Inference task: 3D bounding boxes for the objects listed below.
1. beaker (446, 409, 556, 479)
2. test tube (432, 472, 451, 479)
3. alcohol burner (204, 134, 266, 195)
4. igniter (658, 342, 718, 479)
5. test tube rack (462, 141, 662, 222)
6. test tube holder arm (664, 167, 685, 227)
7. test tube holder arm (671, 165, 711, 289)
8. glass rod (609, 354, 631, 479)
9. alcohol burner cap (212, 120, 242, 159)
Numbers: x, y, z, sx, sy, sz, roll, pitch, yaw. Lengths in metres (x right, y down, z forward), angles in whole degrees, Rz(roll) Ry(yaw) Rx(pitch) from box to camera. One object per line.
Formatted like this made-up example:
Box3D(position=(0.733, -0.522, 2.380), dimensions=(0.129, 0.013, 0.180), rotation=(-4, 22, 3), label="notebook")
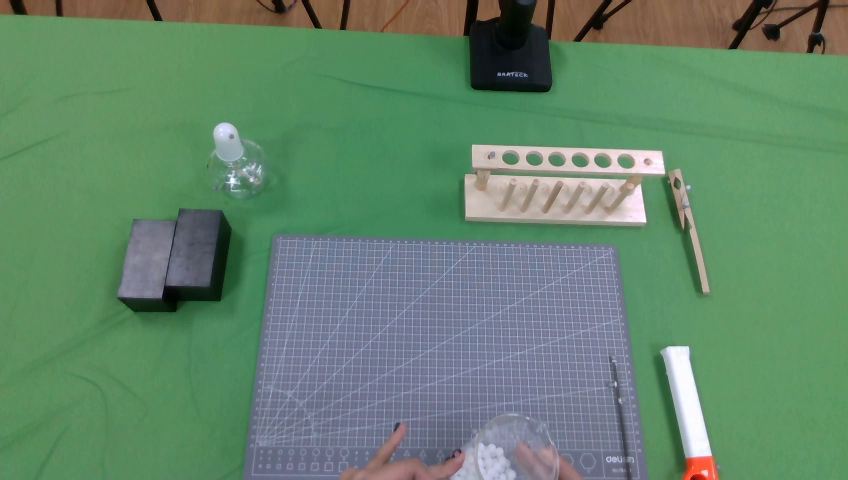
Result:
Box3D(position=(0.066, 0.199, 0.541), dimensions=(0.073, 0.101, 0.084), rotation=(43, 58, 12), label="beaker")
Box3D(position=(0.017, 0.222, 0.505), dimensions=(0.017, 0.151, 0.017), rotation=(-2, 53, 3), label="test tube")
Box3D(position=(-0.240, -0.107, 0.757), dimensions=(0.078, 0.120, 0.077), rotation=(1, 64, -2), label="alcohol burner")
Box3D(position=(0.310, 0.252, 0.688), dimensions=(0.057, 0.025, 0.274), rotation=(3, 66, -14), label="igniter")
Box3D(position=(0.175, -0.074, 0.789), dimensions=(0.242, 0.086, 0.066), rotation=(2, 66, -3), label="test tube rack")
Box3D(position=(0.347, -0.059, 0.833), dimensions=(0.010, 0.015, 0.087), rotation=(-19, 65, 27), label="test tube holder arm")
Box3D(position=(0.356, -0.020, 0.813), dimensions=(0.013, 0.015, 0.177), rotation=(-19, 65, 26), label="test tube holder arm")
Box3D(position=(0.228, 0.230, 0.698), dimensions=(0.008, 0.008, 0.198), rotation=(1, 66, -4), label="glass rod")
Box3D(position=(-0.237, -0.124, 0.725), dimensions=(0.034, 0.048, 0.033), rotation=(4, 60, -7), label="alcohol burner cap")
